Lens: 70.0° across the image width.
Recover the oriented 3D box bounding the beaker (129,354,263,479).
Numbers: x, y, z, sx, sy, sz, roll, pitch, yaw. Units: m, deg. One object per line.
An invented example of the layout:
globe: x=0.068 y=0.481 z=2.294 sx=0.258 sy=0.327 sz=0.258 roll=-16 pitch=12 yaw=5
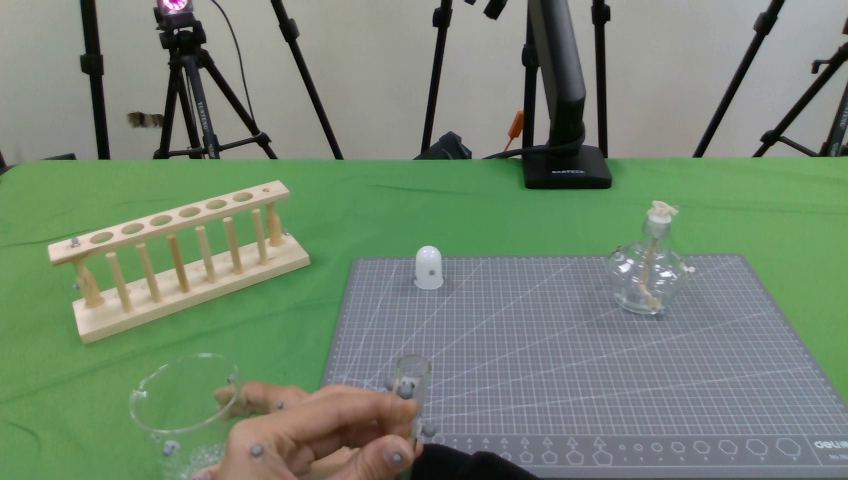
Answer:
beaker: x=-0.164 y=0.145 z=0.444 sx=0.084 sy=0.101 sz=0.073 roll=3 pitch=33 yaw=10

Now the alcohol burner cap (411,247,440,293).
alcohol burner cap: x=0.001 y=0.031 z=0.660 sx=0.034 sy=0.048 sz=0.033 roll=-2 pitch=33 yaw=1

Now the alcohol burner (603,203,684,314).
alcohol burner: x=0.222 y=0.015 z=0.604 sx=0.078 sy=0.120 sz=0.077 roll=0 pitch=33 yaw=0

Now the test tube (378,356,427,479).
test tube: x=-0.015 y=0.118 z=0.298 sx=0.017 sy=0.151 sz=0.017 roll=6 pitch=30 yaw=-3

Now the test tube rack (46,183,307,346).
test tube rack: x=-0.258 y=0.020 z=0.658 sx=0.243 sy=0.086 sz=0.066 roll=-20 pitch=37 yaw=-26
